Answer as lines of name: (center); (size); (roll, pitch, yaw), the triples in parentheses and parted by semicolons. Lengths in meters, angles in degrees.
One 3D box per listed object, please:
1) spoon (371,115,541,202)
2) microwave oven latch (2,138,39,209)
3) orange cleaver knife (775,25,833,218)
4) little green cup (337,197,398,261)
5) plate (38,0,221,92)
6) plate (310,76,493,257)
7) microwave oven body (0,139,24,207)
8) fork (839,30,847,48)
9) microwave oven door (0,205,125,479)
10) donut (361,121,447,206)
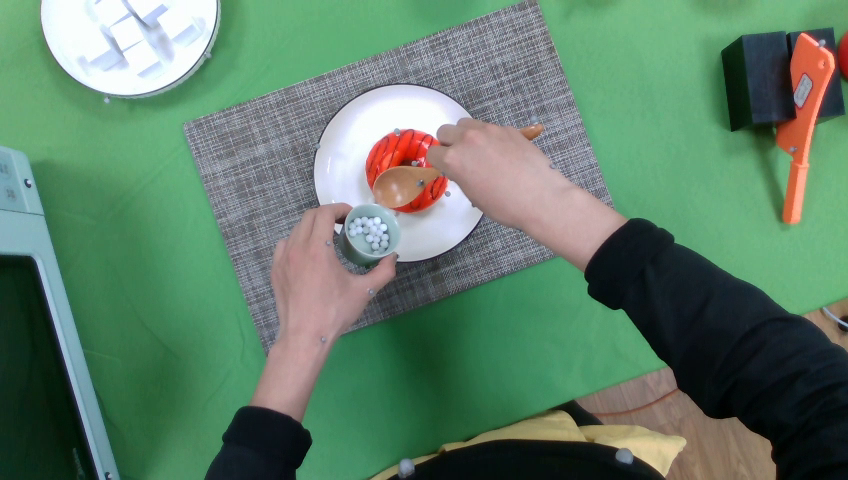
spoon: (0.024, -0.076, 0.573); (0.193, 0.021, 0.042); (-16, 106, 38)
microwave oven latch: (-0.469, -0.073, 0.690); (0.030, 0.029, 0.079); (-16, 90, -1)
orange cleaver knife: (0.420, -0.130, 0.686); (0.012, 0.076, 0.213); (-5, 118, 2)
little green cup: (-0.061, -0.009, 0.630); (0.062, 0.039, 0.061); (9, 62, -17)
plate: (-0.339, -0.274, 0.712); (0.208, 0.039, 0.207); (0, 89, 0)
plate: (-0.026, -0.083, 0.704); (0.209, 0.038, 0.209); (0, 90, 0)
microwave oven body: (-0.559, 0.136, 0.590); (0.326, 0.260, 0.441); (-17, 89, -1)
fork: (0.574, -0.228, 0.656); (0.206, 0.019, 0.028); (8, 86, 42)
microwave oven door: (-0.407, 0.134, 0.584); (0.039, 0.244, 0.355); (-18, 88, 0)
donut: (-0.023, -0.087, 0.693); (0.099, 0.048, 0.099); (0, 91, 1)
